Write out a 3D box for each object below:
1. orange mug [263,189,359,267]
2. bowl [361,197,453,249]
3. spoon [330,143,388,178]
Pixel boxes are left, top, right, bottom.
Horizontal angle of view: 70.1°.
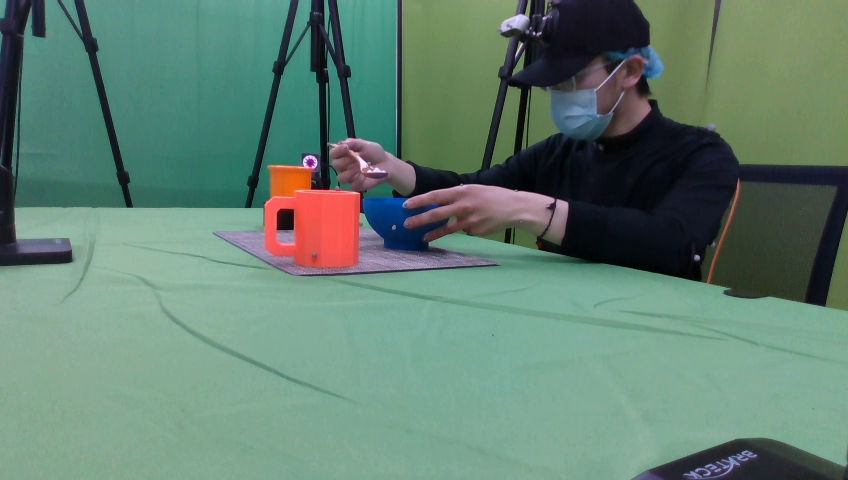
[{"bbox_3d":[-0.147,-0.019,0.794,0.127,0.100,0.083,5,6,-19],"label":"orange mug"},{"bbox_3d":[-0.029,-0.028,0.991,0.151,0.077,0.151,2,7,0],"label":"bowl"},{"bbox_3d":[-0.117,-0.140,1.033,0.042,0.021,0.192,-3,27,-32],"label":"spoon"}]
